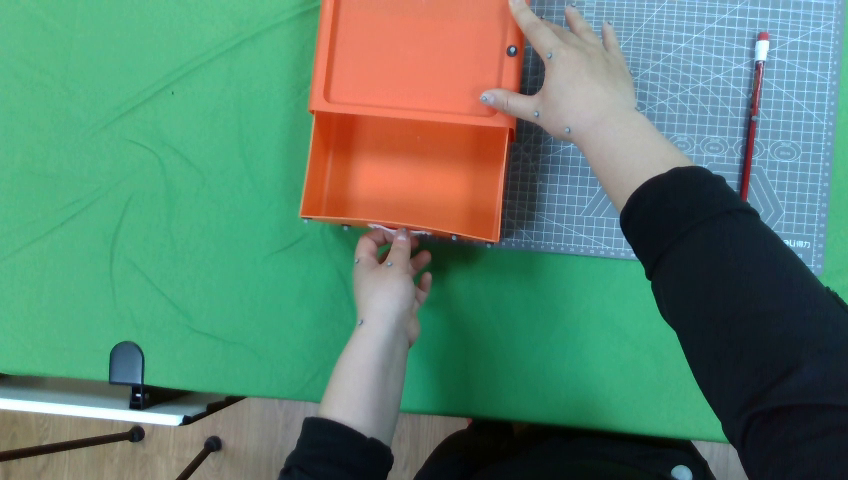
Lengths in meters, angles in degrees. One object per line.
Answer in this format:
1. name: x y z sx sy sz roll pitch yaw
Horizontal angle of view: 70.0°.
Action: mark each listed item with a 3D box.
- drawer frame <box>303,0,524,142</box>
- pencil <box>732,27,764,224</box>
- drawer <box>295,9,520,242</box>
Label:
1. drawer frame: -0.004 -0.212 0.603 0.201 0.083 0.213 5 89 8
2. pencil: 0.318 -0.112 0.598 0.012 0.012 0.194 7 91 7
3. drawer: -0.013 -0.109 0.602 0.194 0.073 0.211 7 88 7
